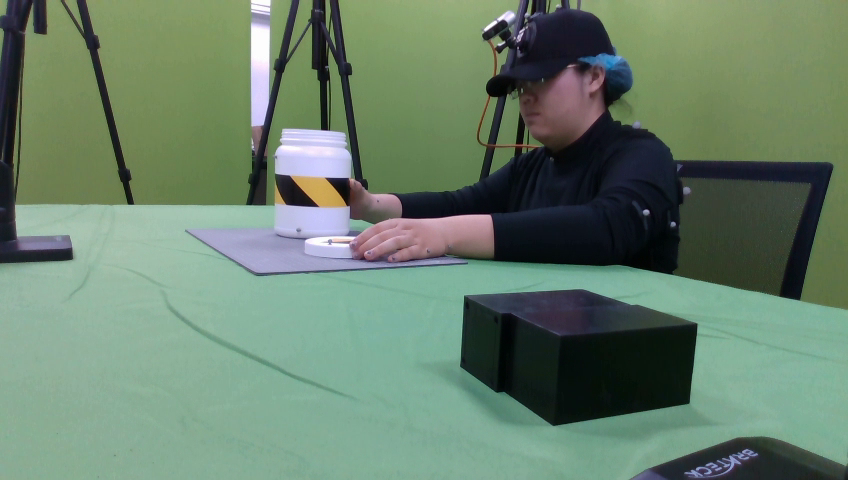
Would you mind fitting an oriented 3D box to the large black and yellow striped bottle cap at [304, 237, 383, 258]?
[{"bbox_3d":[-0.117,0.010,0.882,0.115,0.019,0.115,1,6,0],"label":"large black and yellow striped bottle cap"}]

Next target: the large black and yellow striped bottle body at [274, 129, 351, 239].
[{"bbox_3d":[-0.194,-0.099,1.058,0.131,0.184,0.130,3,8,0],"label":"large black and yellow striped bottle body"}]
